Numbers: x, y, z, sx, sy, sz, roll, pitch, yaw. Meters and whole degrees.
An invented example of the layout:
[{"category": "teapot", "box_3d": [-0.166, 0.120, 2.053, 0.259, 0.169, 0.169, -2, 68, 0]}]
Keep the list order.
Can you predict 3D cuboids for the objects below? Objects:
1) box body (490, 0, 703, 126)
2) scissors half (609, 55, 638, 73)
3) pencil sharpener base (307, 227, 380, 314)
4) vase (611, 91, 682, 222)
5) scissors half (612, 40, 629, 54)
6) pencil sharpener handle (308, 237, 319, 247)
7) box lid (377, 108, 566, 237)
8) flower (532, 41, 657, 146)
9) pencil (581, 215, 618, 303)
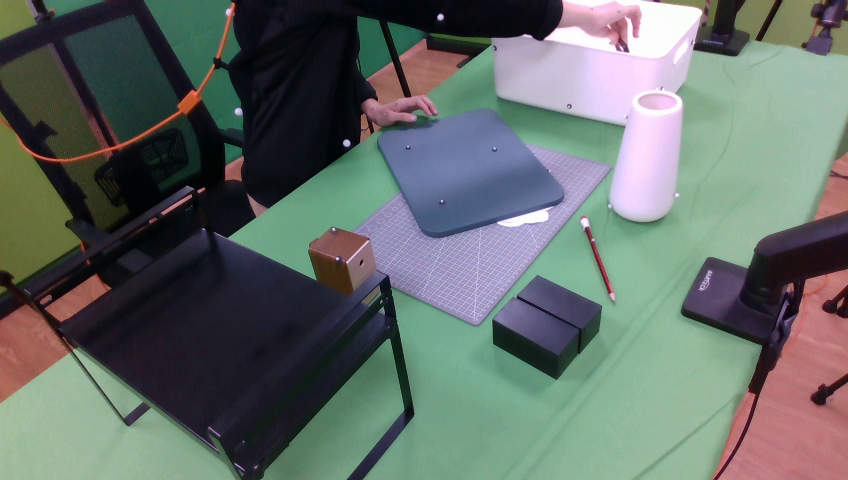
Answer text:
[{"category": "box body", "box_3d": [0.352, -0.385, 1.268, 0.361, 0.161, 0.255, 21, 48, 29]}, {"category": "scissors half", "box_3d": [0.413, -0.371, 1.263, 0.013, 0.040, 0.174, -32, 18, 11]}, {"category": "pencil sharpener base", "box_3d": [-0.116, 0.043, 0.875, 0.076, 0.107, 0.061, 18, 47, 27]}, {"category": "vase", "box_3d": [0.348, -0.125, 0.935, 0.098, 0.201, 0.097, -3, 40, 3]}, {"category": "scissors half", "box_3d": [0.401, -0.387, 1.261, 0.013, 0.040, 0.175, -38, -2, 11]}, {"category": "pencil sharpener handle", "box_3d": [-0.159, 0.017, 0.892, 0.030, 0.068, 0.036, 18, 61, 28]}, {"category": "box lid", "box_3d": [0.074, -0.141, 1.137, 0.264, 0.015, 0.368, -16, 40, -10]}, {"category": "flower", "box_3d": [0.370, -0.320, 1.323, 0.038, 0.044, 0.359, -16, 56, -49]}, {"category": "pencil", "box_3d": [0.266, 0.026, 0.917, 0.012, 0.012, 0.193, -6, 42, 1]}]
